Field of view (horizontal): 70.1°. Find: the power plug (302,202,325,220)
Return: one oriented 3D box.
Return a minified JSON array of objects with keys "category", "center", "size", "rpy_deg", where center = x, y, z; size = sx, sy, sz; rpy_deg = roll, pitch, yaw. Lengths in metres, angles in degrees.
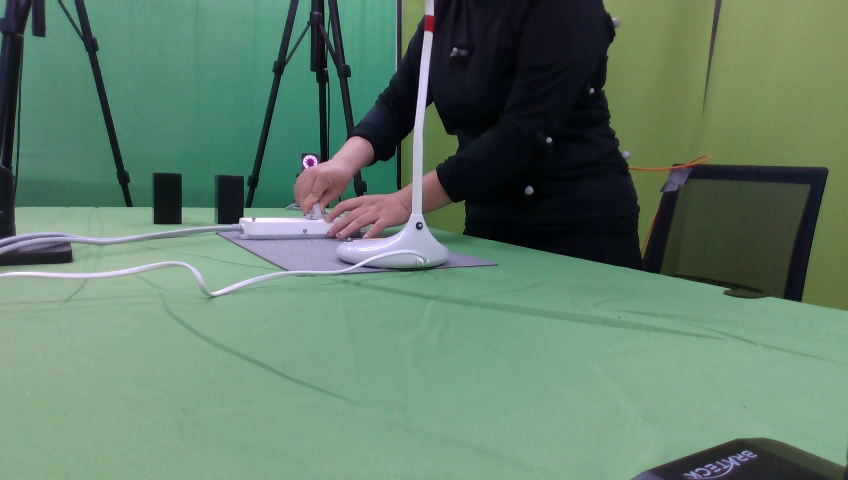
[{"category":"power plug","center":[-0.204,-0.045,1.120],"size":[0.035,0.052,0.072],"rpy_deg":[1,4,-17]}]

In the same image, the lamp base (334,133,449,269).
[{"category":"lamp base","center":[-0.034,-0.057,0.830],"size":[0.161,0.180,0.178],"rpy_deg":[-3,12,-36]}]

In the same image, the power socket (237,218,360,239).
[{"category":"power socket","center":[-0.220,-0.022,1.079],"size":[0.228,0.032,0.072],"rpy_deg":[-2,8,-32]}]
